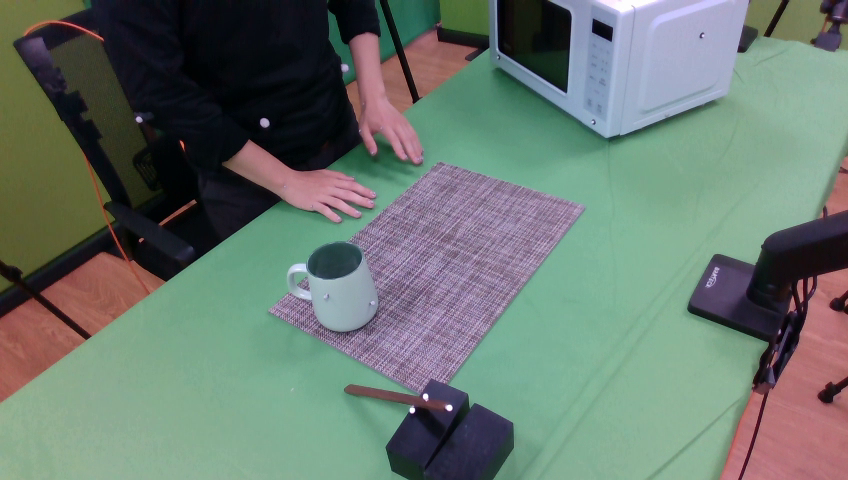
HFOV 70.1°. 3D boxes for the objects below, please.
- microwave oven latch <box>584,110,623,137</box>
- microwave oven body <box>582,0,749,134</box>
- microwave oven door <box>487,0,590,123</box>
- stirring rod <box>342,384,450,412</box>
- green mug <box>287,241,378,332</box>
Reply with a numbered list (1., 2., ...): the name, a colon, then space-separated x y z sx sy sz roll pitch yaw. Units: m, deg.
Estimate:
1. microwave oven latch: 0.337 -0.222 1.142 0.030 0.029 0.078 -21 42 -14
2. microwave oven body: 0.382 -0.444 1.246 0.327 0.261 0.437 -22 42 -16
3. microwave oven door: 0.232 -0.420 1.231 0.039 0.245 0.352 -22 43 -16
4. stirring rod: -0.038 0.186 0.714 0.175 0.006 0.014 -3 22 43
5. green mug: -0.131 0.065 0.843 0.125 0.105 0.092 3 42 12
